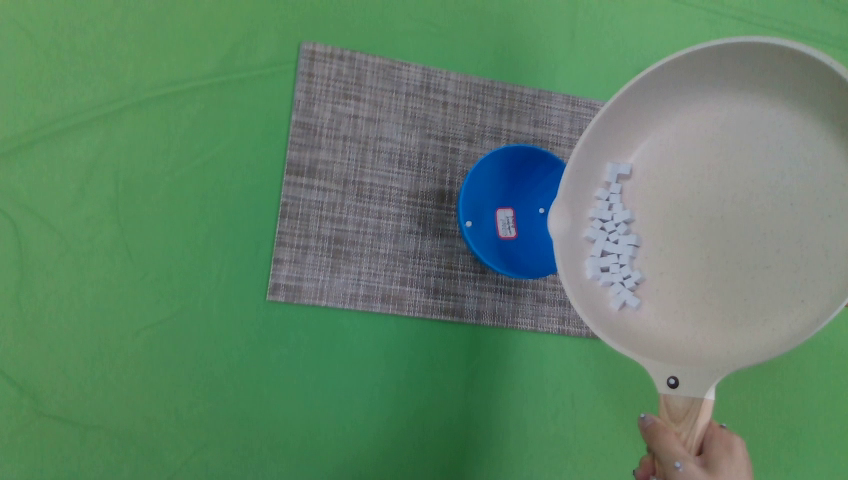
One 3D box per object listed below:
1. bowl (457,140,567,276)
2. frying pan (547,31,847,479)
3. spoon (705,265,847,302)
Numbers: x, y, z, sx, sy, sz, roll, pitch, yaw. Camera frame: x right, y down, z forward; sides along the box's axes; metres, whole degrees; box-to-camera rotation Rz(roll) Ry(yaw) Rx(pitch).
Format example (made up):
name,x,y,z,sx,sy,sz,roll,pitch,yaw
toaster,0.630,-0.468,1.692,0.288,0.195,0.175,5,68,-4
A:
name,x,y,z,sx,sy,sz,roll,pitch,yaw
bowl,0.101,-0.030,0.687,0.152,0.077,0.151,2,82,-14
frying pan,0.224,0.066,0.510,0.104,0.305,0.485,25,72,-34
spoon,0.443,0.060,0.727,0.022,0.192,0.041,30,71,-55
